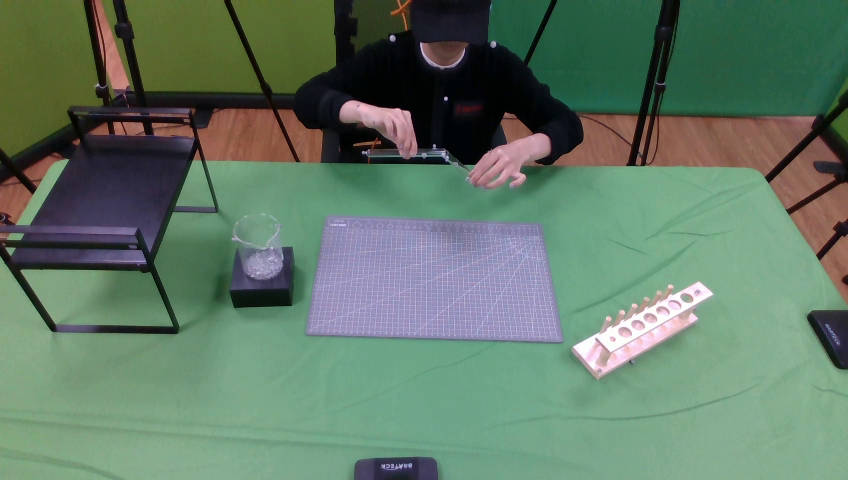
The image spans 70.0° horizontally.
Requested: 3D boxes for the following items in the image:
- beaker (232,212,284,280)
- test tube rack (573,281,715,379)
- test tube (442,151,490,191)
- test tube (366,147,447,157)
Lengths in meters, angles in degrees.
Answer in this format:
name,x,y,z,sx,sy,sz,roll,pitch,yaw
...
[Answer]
name,x,y,z,sx,sy,sz,roll,pitch,yaw
beaker,-0.280,0.016,1.037,0.074,0.101,0.083,-18,50,-20
test tube rack,0.378,0.140,1.038,0.242,0.085,0.066,-22,51,-23
test tube,0.085,-0.132,1.178,0.017,0.151,0.017,-20,56,33
test tube,-0.032,-0.161,1.109,0.150,0.017,0.017,-2,46,-14
